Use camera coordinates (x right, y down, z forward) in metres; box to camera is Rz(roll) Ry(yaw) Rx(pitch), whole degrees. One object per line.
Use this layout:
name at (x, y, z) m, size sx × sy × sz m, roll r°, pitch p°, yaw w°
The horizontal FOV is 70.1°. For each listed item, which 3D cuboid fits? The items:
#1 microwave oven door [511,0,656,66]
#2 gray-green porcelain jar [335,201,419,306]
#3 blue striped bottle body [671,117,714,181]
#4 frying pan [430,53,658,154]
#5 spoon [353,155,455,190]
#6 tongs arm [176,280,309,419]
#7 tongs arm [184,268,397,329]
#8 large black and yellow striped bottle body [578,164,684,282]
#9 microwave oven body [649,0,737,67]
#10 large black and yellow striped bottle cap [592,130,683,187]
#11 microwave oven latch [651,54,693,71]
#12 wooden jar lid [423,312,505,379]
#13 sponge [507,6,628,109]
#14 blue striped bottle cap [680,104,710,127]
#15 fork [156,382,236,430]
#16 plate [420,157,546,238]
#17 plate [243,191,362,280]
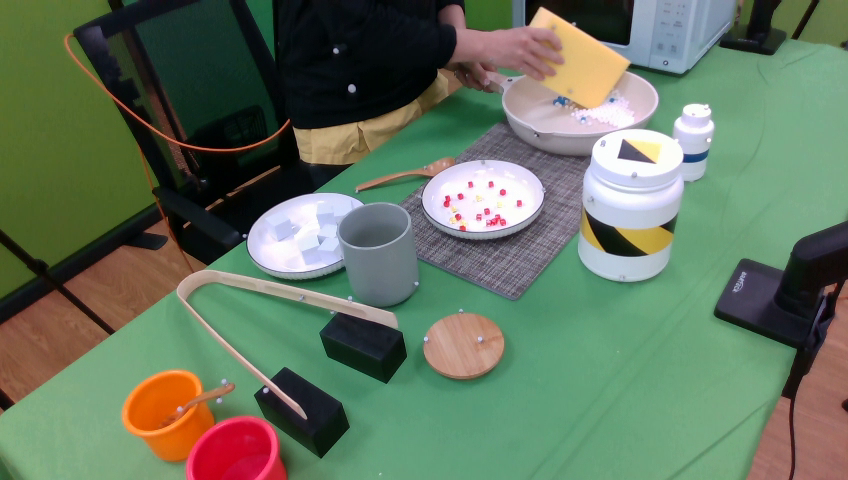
microwave oven door at (0.351, -0.540, 1.349) m, size 0.353 × 0.245 × 0.039 m, roll 24°, pitch 50°, yaw 31°
gray-green porcelain jar at (-0.064, 0.024, 0.872) m, size 0.106 × 0.127 × 0.105 m, roll -4°, pitch 41°, yaw 4°
blue striped bottle body at (0.449, -0.165, 1.022) m, size 0.063 × 0.121 × 0.063 m, roll -5°, pitch 41°, yaw 4°
frying pan at (0.216, -0.301, 1.223) m, size 0.484 × 0.103 × 0.308 m, roll 29°, pitch 49°, yaw 24°
spoon at (-0.038, -0.123, 1.116) m, size 0.194 × 0.022 × 0.041 m, roll -12°, pitch 58°, yaw -4°
tongs arm at (-0.254, 0.133, 0.801) m, size 0.028 × 0.028 × 0.384 m, roll -41°, pitch 41°, yaw -23°
tongs arm at (-0.202, 0.084, 0.848) m, size 0.382 × 0.027 × 0.051 m, roll 11°, pitch 45°, yaw 35°
large black and yellow striped bottle body at (0.292, -0.046, 0.859) m, size 0.131 × 0.185 × 0.130 m, roll -4°, pitch 41°, yaw 4°
microwave oven body at (0.475, -0.602, 1.411) m, size 0.438 × 0.261 × 0.327 m, roll 23°, pitch 50°, yaw 32°
large black and yellow striped bottle cap at (0.282, -0.111, 0.803) m, size 0.115 × 0.019 × 0.114 m, roll -3°, pitch 41°, yaw 3°
microwave oven latch at (0.532, -0.386, 1.301) m, size 0.078 × 0.029 × 0.030 m, roll 26°, pitch 51°, yaw 33°
wooden jar lid at (0.053, 0.142, 0.800) m, size 0.108 × 0.021 × 0.108 m, roll -5°, pitch 39°, yaw 4°
sponge at (0.285, -0.356, 1.198) m, size 0.208 × 0.118 × 0.060 m, roll 20°, pitch 26°, yaw -26°
blue striped bottle cap at (0.444, -0.205, 0.989) m, size 0.044 × 0.021 × 0.044 m, roll -1°, pitch 41°, yaw 2°
fork at (-0.262, 0.189, 0.690) m, size 0.018 × 0.206 × 0.028 m, roll 49°, pitch 43°, yaw -7°
plate at (0.099, -0.067, 1.017) m, size 0.209 × 0.038 × 0.208 m, roll -4°, pitch 40°, yaw 4°
plate at (-0.187, -0.005, 0.992) m, size 0.207 × 0.039 × 0.206 m, roll -4°, pitch 41°, yaw 4°
